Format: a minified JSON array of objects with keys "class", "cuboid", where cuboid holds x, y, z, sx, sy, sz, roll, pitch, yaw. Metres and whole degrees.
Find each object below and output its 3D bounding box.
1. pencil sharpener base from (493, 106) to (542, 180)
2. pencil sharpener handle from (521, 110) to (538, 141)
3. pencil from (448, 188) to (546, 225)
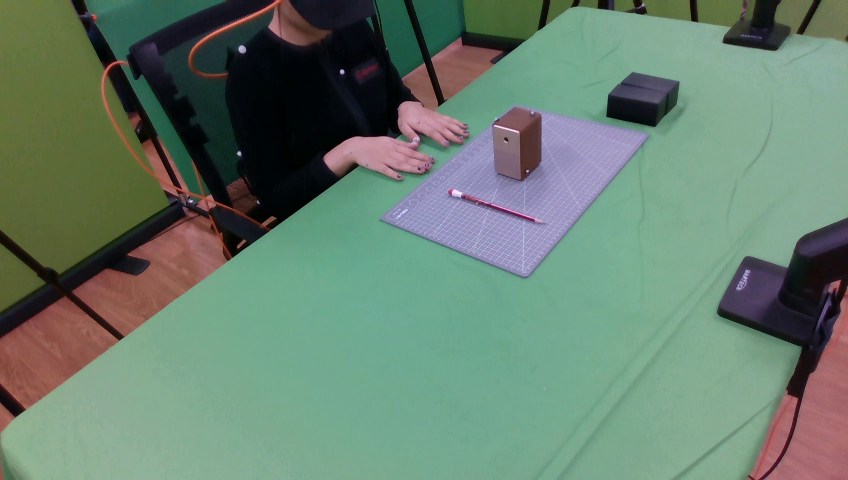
[{"class":"pencil sharpener base","cuboid":[0.170,-0.175,1.085,0.061,0.107,0.077,23,49,33]},{"class":"pencil sharpener handle","cuboid":[0.198,-0.214,1.107,0.036,0.068,0.031,30,53,25]},{"class":"pencil","cuboid":[0.122,-0.057,1.033,0.192,0.012,0.012,22,50,30]}]
